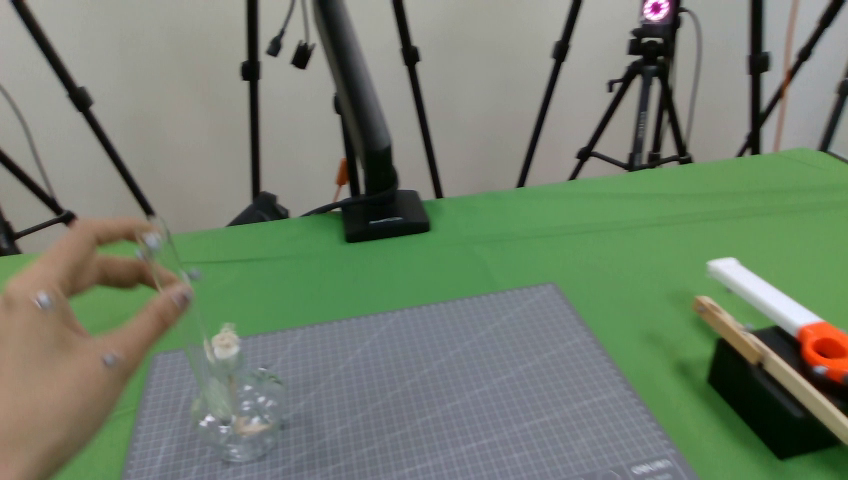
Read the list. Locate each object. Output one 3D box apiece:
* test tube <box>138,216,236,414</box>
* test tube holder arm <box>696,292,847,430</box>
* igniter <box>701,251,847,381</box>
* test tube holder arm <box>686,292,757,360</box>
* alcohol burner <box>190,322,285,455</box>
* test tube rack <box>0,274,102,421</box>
[{"bbox_3d":[-0.133,0.050,0.350,0.017,0.151,0.017,-2,37,2],"label":"test tube"},{"bbox_3d":[0.287,0.095,0.507,0.013,0.015,0.176,-10,31,-16],"label":"test tube holder arm"},{"bbox_3d":[0.338,0.079,0.523,0.057,0.025,0.273,-10,28,-10],"label":"igniter"},{"bbox_3d":[0.267,0.075,0.543,0.010,0.015,0.087,-10,30,-15],"label":"test tube holder arm"},{"bbox_3d":[-0.158,0.119,0.504,0.078,0.120,0.077,-2,29,2],"label":"alcohol burner"},{"bbox_3d":[-0.431,0.132,0.541,0.066,0.086,0.242,16,36,29],"label":"test tube rack"}]
